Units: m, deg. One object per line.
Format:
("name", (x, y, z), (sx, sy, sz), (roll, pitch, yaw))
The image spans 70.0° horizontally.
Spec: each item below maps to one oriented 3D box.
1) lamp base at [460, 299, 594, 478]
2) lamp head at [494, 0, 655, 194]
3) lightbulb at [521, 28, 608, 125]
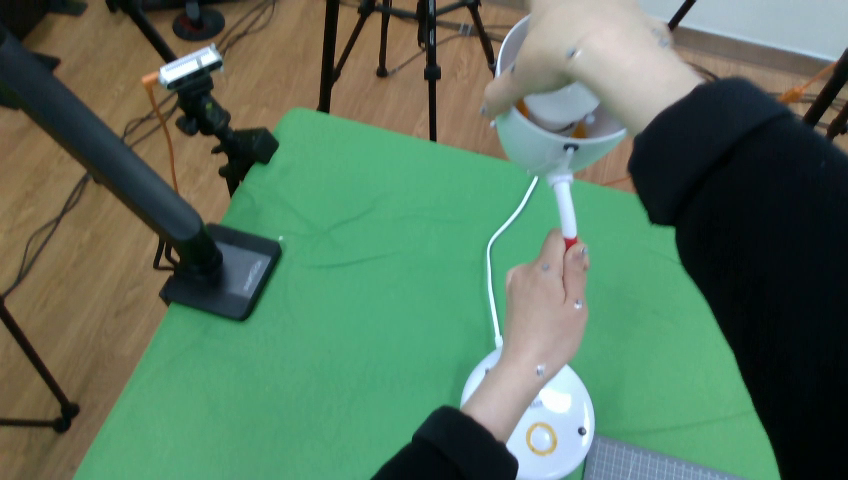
("lamp base", (0.119, 0.152, 0.660), (0.161, 0.181, 0.177), (-21, 61, -14))
("lamp head", (0.105, -0.100, 0.470), (0.112, 0.123, 0.111), (1, 67, -1))
("lightbulb", (0.099, -0.111, 0.448), (0.059, 0.108, 0.059), (0, 75, 2))
